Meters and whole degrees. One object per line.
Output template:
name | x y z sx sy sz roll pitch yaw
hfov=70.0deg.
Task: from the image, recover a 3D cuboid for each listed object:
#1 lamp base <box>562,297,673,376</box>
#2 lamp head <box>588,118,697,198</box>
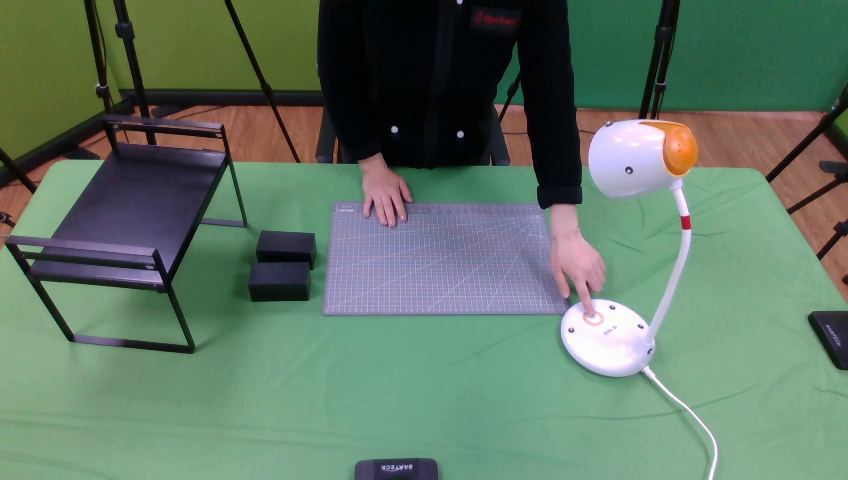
lamp base | 0.332 0.120 0.995 0.160 0.181 0.178 -34 59 -30
lamp head | 0.304 -0.112 0.822 0.112 0.112 0.122 -26 16 -26
